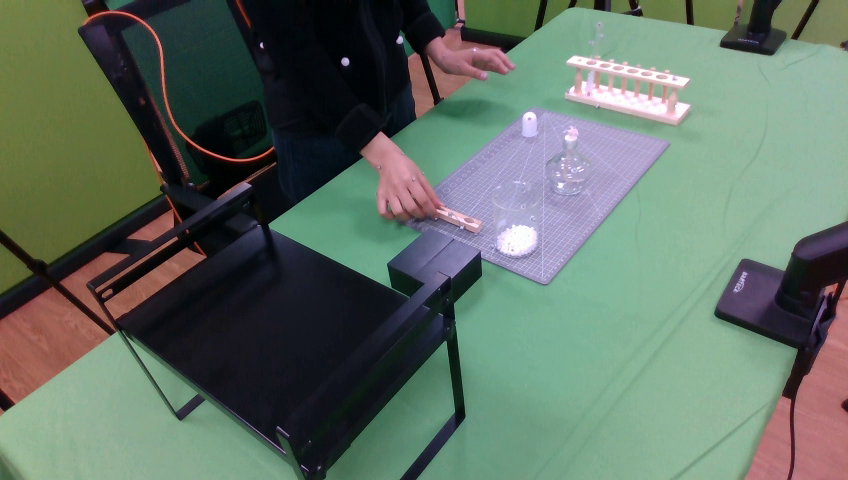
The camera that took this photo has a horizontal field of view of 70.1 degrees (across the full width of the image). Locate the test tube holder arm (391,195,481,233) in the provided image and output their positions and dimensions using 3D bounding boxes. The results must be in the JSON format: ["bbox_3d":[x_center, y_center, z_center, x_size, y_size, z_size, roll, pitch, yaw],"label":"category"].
[{"bbox_3d":[0.017,-0.046,1.016,0.177,0.015,0.013,20,39,27],"label":"test tube holder arm"}]

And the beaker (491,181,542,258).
[{"bbox_3d":[0.144,-0.030,0.925,0.073,0.100,0.084,23,48,31],"label":"beaker"}]

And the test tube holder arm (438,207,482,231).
[{"bbox_3d":[0.057,-0.034,0.998,0.087,0.015,0.010,22,40,29],"label":"test tube holder arm"}]

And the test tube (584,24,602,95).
[{"bbox_3d":[0.342,-0.362,1.226,0.017,0.151,0.017,-2,44,2],"label":"test tube"}]

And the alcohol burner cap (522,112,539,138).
[{"bbox_3d":[0.210,-0.230,1.195,0.034,0.048,0.033,-5,41,5],"label":"alcohol burner cap"}]

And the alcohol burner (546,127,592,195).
[{"bbox_3d":[0.246,-0.137,1.024,0.078,0.119,0.077,-4,38,4],"label":"alcohol burner"}]

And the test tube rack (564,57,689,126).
[{"bbox_3d":[0.411,-0.311,1.230,0.240,0.085,0.067,23,49,31],"label":"test tube rack"}]
